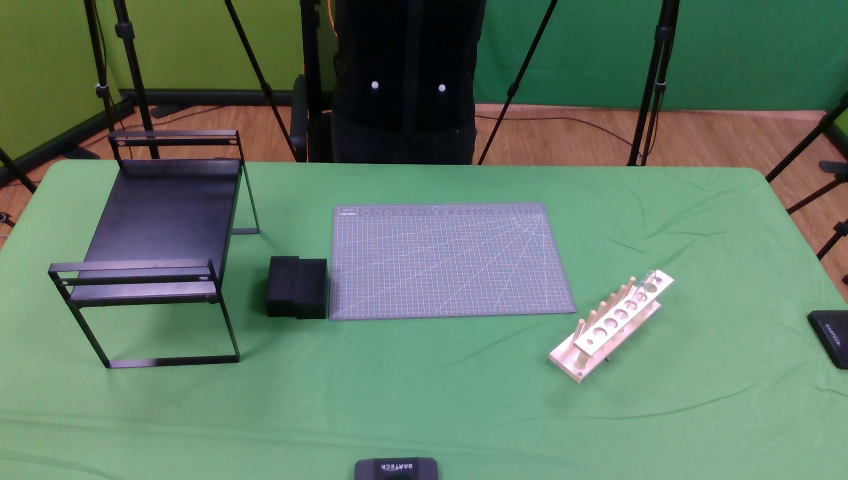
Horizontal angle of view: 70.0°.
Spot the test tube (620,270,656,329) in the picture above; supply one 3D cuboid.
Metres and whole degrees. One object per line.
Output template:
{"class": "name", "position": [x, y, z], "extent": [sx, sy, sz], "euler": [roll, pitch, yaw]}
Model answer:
{"class": "test tube", "position": [0.352, 0.102, 1.012], "extent": [0.017, 0.151, 0.017], "euler": [4, 47, -4]}

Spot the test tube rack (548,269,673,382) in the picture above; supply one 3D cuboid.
{"class": "test tube rack", "position": [0.325, 0.134, 1.047], "extent": [0.242, 0.085, 0.066], "euler": [-32, 56, -30]}
